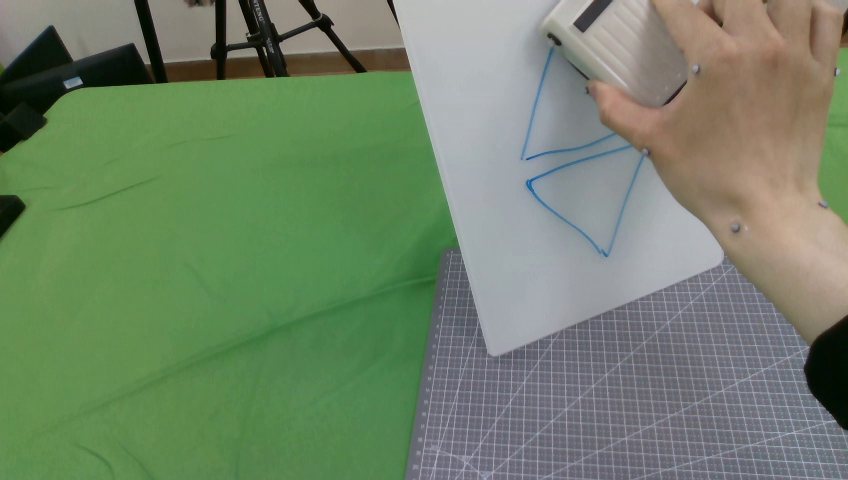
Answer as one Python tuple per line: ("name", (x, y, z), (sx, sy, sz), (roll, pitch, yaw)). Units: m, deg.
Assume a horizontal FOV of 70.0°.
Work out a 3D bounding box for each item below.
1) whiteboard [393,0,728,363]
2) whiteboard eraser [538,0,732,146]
("whiteboard", (0.097, -0.098, 0.483), (0.217, 0.308, 0.142), (-20, 26, -8))
("whiteboard eraser", (0.130, -0.114, 0.378), (0.055, 0.113, 0.041), (-48, 4, 13))
